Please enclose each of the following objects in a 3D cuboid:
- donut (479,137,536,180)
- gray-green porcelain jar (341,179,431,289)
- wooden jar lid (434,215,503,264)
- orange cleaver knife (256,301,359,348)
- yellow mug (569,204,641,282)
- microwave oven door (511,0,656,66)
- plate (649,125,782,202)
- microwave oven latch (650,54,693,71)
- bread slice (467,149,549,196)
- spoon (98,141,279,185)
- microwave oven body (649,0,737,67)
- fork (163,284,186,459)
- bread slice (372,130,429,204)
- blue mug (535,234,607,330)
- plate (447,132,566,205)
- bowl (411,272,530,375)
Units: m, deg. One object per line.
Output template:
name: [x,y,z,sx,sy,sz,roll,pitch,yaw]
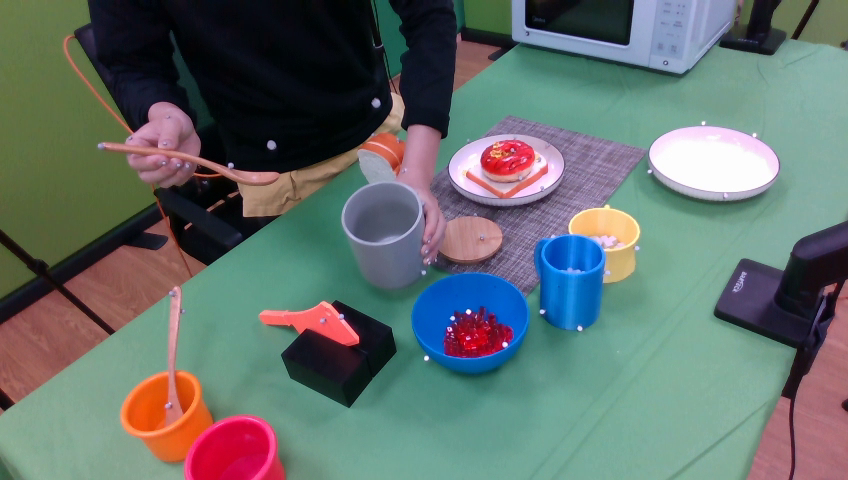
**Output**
donut: [0.145,-0.144,1.056,0.099,0.048,0.098,-6,42,6]
gray-green porcelain jar: [-0.047,-0.002,0.814,0.106,0.127,0.105,-3,55,5]
wooden jar lid: [0.070,0.001,0.956,0.108,0.021,0.108,-4,40,4]
orange cleaver knife: [-0.161,0.116,0.813,0.210,0.077,0.012,-9,29,48]
yellow mug: [0.268,-0.005,0.904,0.099,0.064,0.130,7,41,15]
microwave oven door: [0.351,-0.539,1.348,0.353,0.245,0.039,24,50,31]
plate: [0.493,-0.127,1.036,0.207,0.039,0.206,-4,41,4]
microwave oven latch: [0.531,-0.386,1.301,0.078,0.029,0.030,25,51,33]
bread slice: [0.156,-0.128,1.085,0.132,0.019,0.104,-34,48,-23]
spoon: [-0.265,-0.091,0.694,0.195,0.021,0.041,13,21,-23]
microwave oven body: [0.475,-0.602,1.411,0.438,0.261,0.327,23,50,32]
fork: [-0.302,0.157,0.733,0.028,0.019,0.207,-3,84,14]
bread slice: [-0.043,-0.126,1.038,0.106,0.135,0.018,30,61,33]
blue mug: [0.190,0.048,0.824,0.082,0.106,0.115,-26,44,-21]
plate: [0.146,-0.124,1.076,0.209,0.038,0.208,-3,41,3]
bowl: [0.061,0.120,0.780,0.151,0.077,0.150,-4,40,4]
